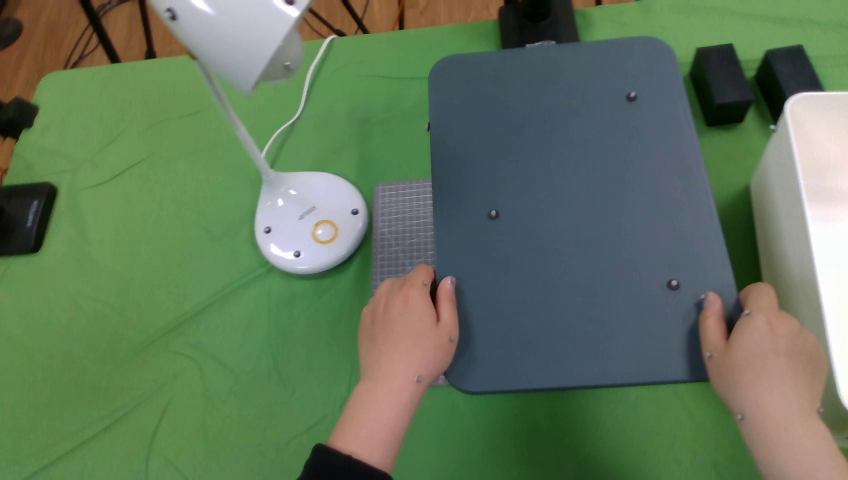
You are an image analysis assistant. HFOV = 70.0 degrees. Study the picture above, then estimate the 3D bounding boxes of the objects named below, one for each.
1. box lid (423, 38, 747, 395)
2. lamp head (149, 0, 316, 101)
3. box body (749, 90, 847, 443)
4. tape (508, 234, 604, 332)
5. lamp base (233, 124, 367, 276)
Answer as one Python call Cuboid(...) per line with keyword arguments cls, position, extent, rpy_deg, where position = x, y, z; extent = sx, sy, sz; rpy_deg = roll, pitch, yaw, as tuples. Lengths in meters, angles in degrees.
Cuboid(cls="box lid", position=(0.135, -0.043, 0.585), extent=(0.263, 0.015, 0.368), rpy_deg=(-5, 65, 4))
Cuboid(cls="lamp head", position=(-0.170, -0.196, 0.518), extent=(0.123, 0.112, 0.112), rpy_deg=(31, 68, -14))
Cuboid(cls="box body", position=(0.515, 0.032, 0.646), extent=(0.254, 0.162, 0.361), rpy_deg=(1, 64, 9))
Cuboid(cls="tape", position=(0.162, 0.053, 0.748), extent=(0.117, 0.053, 0.116), rpy_deg=(-3, 63, 6))
Cuboid(cls="lamp base", position=(-0.180, -0.063, 0.787), extent=(0.178, 0.182, 0.160), rpy_deg=(32, 72, 24))
